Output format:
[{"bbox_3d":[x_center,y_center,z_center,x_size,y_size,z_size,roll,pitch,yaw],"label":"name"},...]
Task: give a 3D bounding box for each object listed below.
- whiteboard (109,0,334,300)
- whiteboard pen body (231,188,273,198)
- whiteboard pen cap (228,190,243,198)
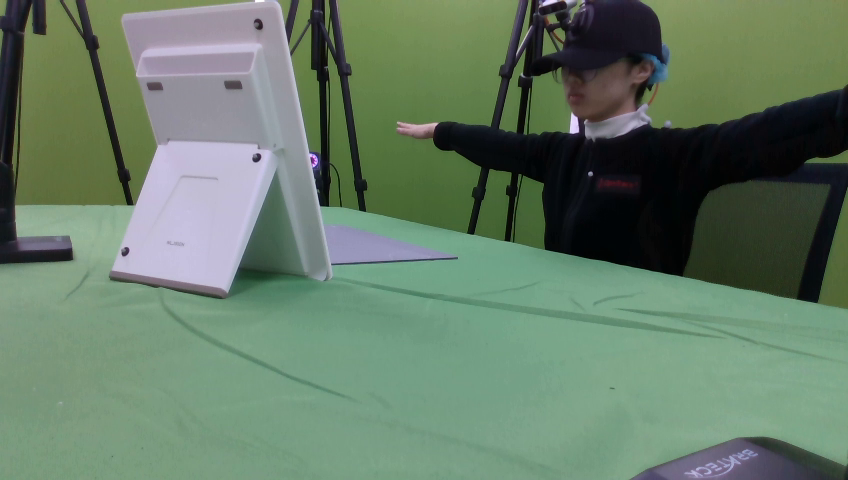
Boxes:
[{"bbox_3d":[-0.247,-0.072,0.624,0.216,0.305,0.144,6,28,26],"label":"whiteboard"},{"bbox_3d":[-0.370,-0.101,1.303,0.017,0.017,0.141,4,9,18],"label":"whiteboard pen body"},{"bbox_3d":[-0.388,-0.096,1.248,0.018,0.018,0.033,4,8,18],"label":"whiteboard pen cap"}]
